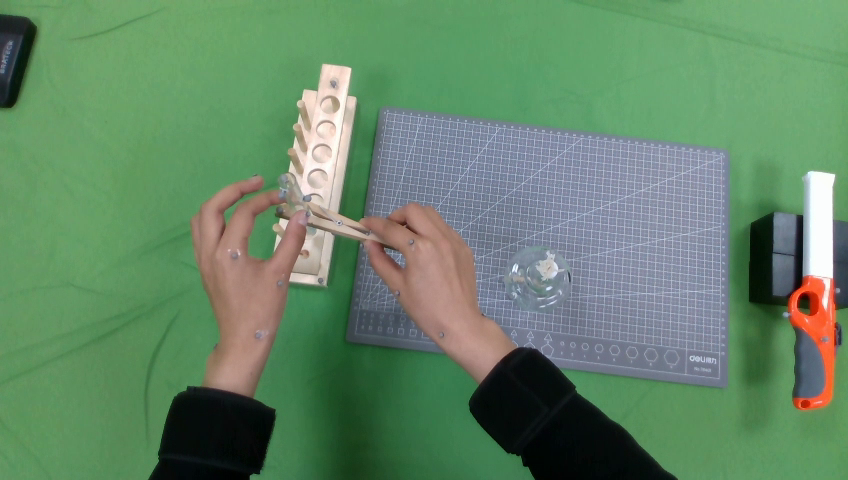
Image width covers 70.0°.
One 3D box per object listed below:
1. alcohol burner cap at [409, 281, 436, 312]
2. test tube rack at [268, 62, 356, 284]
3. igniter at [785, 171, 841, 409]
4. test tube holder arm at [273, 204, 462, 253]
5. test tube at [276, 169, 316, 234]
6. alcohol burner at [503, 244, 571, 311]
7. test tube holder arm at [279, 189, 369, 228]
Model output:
[{"bbox_3d":[-0.001,0.063,0.697,0.034,0.048,0.033,1,76,-3],"label":"alcohol burner cap"},{"bbox_3d":[-0.133,-0.077,0.702,0.067,0.085,0.241,8,77,-1],"label":"test tube rack"},{"bbox_3d":[0.441,0.053,0.685,0.057,0.025,0.275,9,76,5],"label":"igniter"},{"bbox_3d":[-0.052,-0.010,0.569,0.178,0.015,0.013,13,67,-3],"label":"test tube holder arm"},{"bbox_3d":[-0.116,-0.031,0.560,0.017,0.151,0.017,1,75,-3],"label":"test tube"},{"bbox_3d":[0.129,0.039,0.672,0.078,0.119,0.077,0,78,-1],"label":"alcohol burner"},{"bbox_3d":[-0.094,-0.027,0.570,0.088,0.015,0.010,21,66,0],"label":"test tube holder arm"}]
